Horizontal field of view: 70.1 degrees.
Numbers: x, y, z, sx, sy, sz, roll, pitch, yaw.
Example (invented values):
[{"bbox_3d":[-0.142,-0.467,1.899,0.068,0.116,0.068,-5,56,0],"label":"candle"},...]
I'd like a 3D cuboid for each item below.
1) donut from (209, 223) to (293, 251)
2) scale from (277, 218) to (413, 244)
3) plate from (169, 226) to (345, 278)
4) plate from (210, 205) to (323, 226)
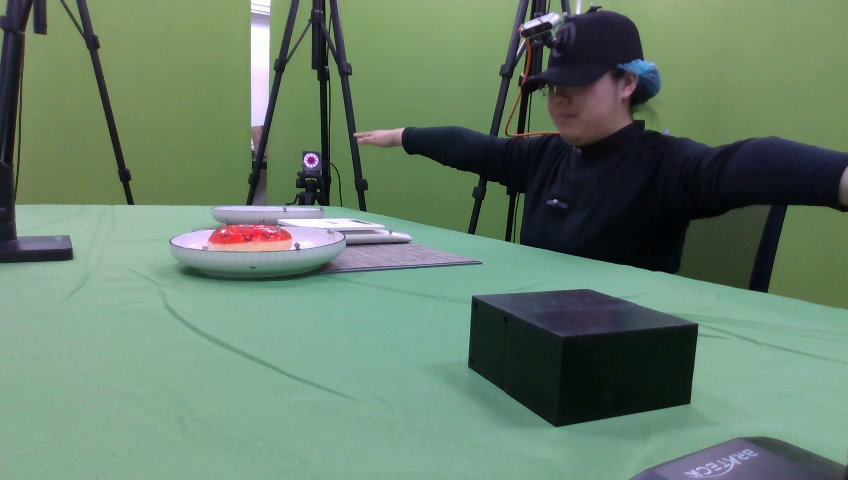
[{"bbox_3d":[-0.210,0.004,0.738,0.099,0.048,0.099,0,8,0],"label":"donut"},{"bbox_3d":[-0.134,-0.016,1.015,0.202,0.031,0.148,-1,9,-33],"label":"scale"},{"bbox_3d":[-0.202,0.014,0.748,0.209,0.038,0.209,1,9,0],"label":"plate"},{"bbox_3d":[-0.298,-0.043,1.152,0.208,0.039,0.207,2,5,0],"label":"plate"}]
